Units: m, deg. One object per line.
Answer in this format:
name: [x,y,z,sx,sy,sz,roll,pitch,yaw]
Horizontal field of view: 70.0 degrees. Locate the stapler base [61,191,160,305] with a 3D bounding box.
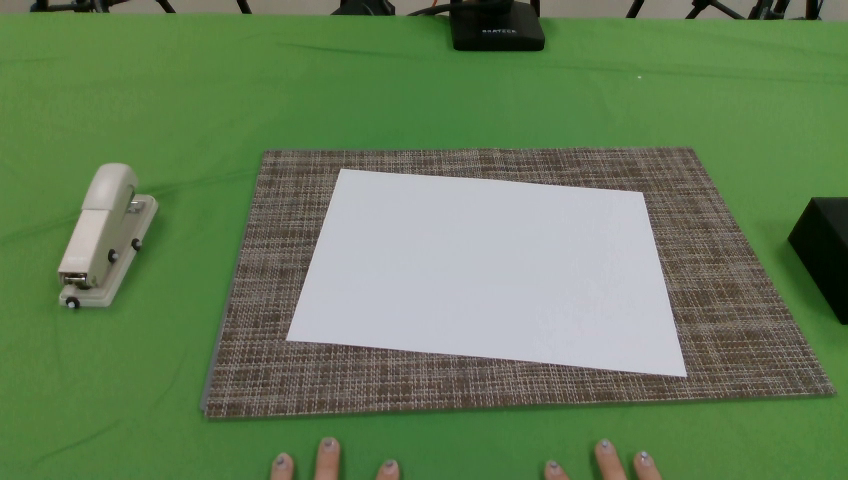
stapler base: [-0.265,-0.002,0.515,0.041,0.024,0.129,1,47,1]

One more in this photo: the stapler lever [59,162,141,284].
stapler lever: [-0.264,-0.018,0.496,0.027,0.040,0.117,1,46,1]
